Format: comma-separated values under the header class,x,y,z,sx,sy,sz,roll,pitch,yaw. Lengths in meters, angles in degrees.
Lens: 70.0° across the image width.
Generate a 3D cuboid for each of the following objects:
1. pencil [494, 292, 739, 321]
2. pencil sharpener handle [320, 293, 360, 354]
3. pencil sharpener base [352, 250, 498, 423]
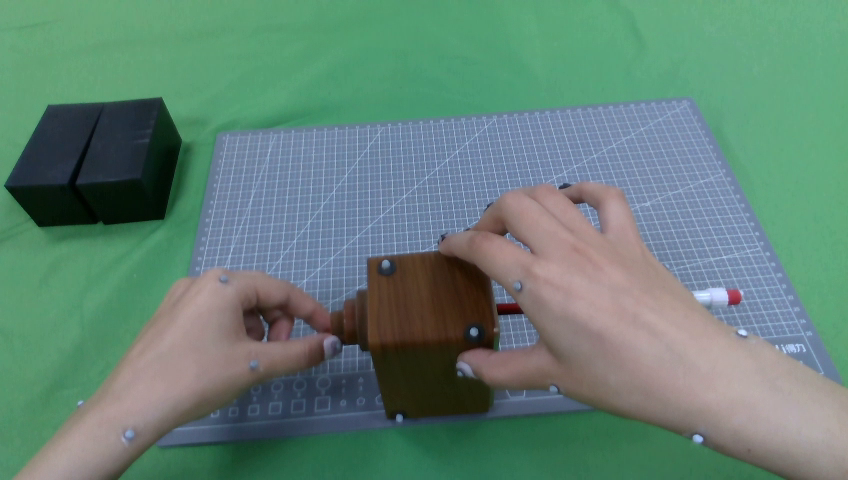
class,x,y,z,sx,sy,sz,roll,pitch,yaw
pencil,0.086,0.041,0.350,0.194,0.012,0.012,-3,51,-2
pencil sharpener handle,-0.051,0.055,0.359,0.030,0.068,0.035,-5,70,-1
pencil sharpener base,0.001,0.062,0.368,0.077,0.108,0.060,-5,52,-1
